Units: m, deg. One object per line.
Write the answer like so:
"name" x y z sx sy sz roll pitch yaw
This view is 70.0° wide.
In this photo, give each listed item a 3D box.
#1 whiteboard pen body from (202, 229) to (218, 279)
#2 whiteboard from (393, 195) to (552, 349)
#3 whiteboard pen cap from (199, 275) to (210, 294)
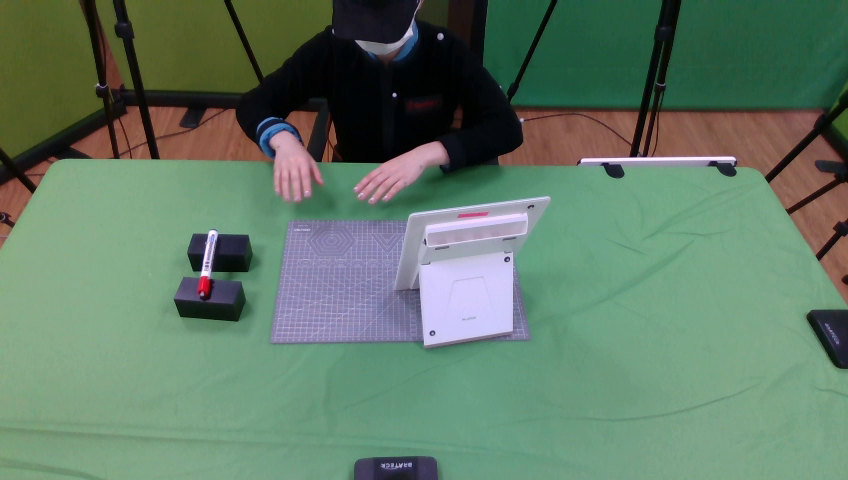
"whiteboard pen body" -0.378 0.033 1.068 0.017 0.017 0.139 -3 47 -7
"whiteboard" 0.077 0.071 0.977 0.217 0.306 0.143 -7 66 -11
"whiteboard pen cap" -0.372 0.075 1.030 0.017 0.017 0.032 -4 48 -8
